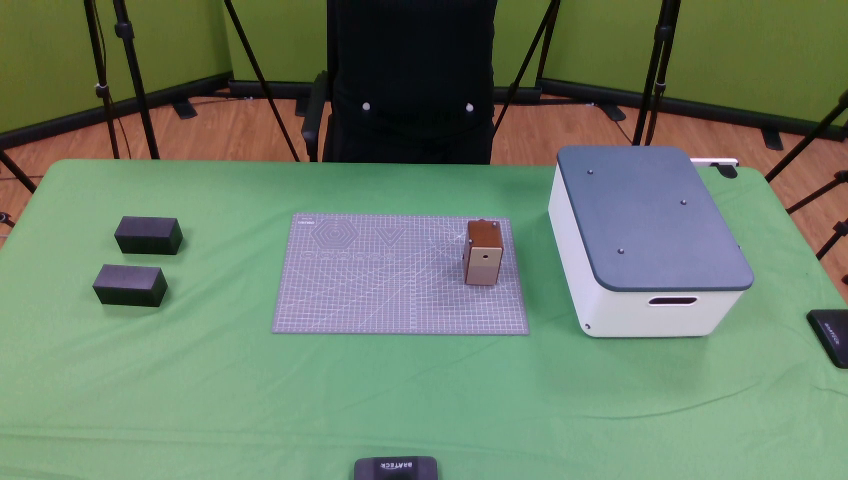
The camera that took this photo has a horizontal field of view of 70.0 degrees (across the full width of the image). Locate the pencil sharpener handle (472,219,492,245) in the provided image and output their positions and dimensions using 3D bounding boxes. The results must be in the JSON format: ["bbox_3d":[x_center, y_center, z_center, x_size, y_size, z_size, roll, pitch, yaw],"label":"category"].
[{"bbox_3d":[0.104,-0.021,1.145,0.036,0.068,0.030,7,44,-8],"label":"pencil sharpener handle"}]

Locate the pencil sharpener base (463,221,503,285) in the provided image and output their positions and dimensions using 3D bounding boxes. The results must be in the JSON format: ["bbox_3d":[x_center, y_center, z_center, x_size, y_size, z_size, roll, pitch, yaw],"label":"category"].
[{"bbox_3d":[0.107,0.024,1.119,0.061,0.107,0.076,1,45,-2],"label":"pencil sharpener base"}]

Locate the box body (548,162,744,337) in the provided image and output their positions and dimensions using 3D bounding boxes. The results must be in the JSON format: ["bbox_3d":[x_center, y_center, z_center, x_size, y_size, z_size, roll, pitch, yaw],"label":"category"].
[{"bbox_3d":[0.391,-0.001,1.130,0.254,0.161,0.361,-1,46,-4],"label":"box body"}]

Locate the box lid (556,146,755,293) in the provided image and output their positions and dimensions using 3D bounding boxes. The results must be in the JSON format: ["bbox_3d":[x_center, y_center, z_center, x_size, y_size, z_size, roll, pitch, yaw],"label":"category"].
[{"bbox_3d":[0.394,-0.051,1.075,0.263,0.015,0.369,0,46,-4],"label":"box lid"}]
